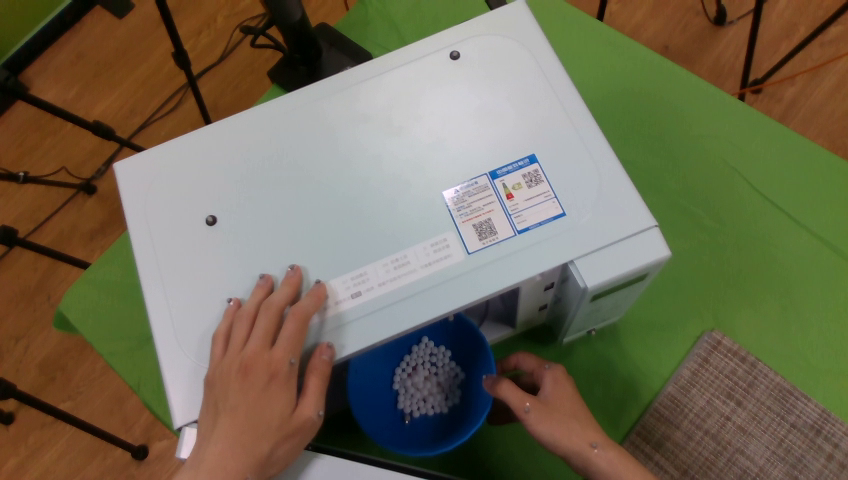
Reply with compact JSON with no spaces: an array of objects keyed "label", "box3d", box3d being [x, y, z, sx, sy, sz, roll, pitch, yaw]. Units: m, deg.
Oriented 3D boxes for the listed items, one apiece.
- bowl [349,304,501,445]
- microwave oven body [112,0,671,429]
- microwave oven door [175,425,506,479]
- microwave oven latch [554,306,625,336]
[{"label":"bowl","box3d":[0.002,0.136,0.628,0.151,0.077,0.150,0,70,1]},{"label":"microwave oven body","box3d":[-0.037,-0.005,0.662,0.442,0.262,0.323,-23,70,-2]},{"label":"microwave oven door","box3d":[-0.015,0.227,0.569,0.355,0.245,0.039,10,72,10]},{"label":"microwave oven latch","box3d":[0.193,0.084,0.707,0.079,0.030,0.030,-21,70,-1]}]
